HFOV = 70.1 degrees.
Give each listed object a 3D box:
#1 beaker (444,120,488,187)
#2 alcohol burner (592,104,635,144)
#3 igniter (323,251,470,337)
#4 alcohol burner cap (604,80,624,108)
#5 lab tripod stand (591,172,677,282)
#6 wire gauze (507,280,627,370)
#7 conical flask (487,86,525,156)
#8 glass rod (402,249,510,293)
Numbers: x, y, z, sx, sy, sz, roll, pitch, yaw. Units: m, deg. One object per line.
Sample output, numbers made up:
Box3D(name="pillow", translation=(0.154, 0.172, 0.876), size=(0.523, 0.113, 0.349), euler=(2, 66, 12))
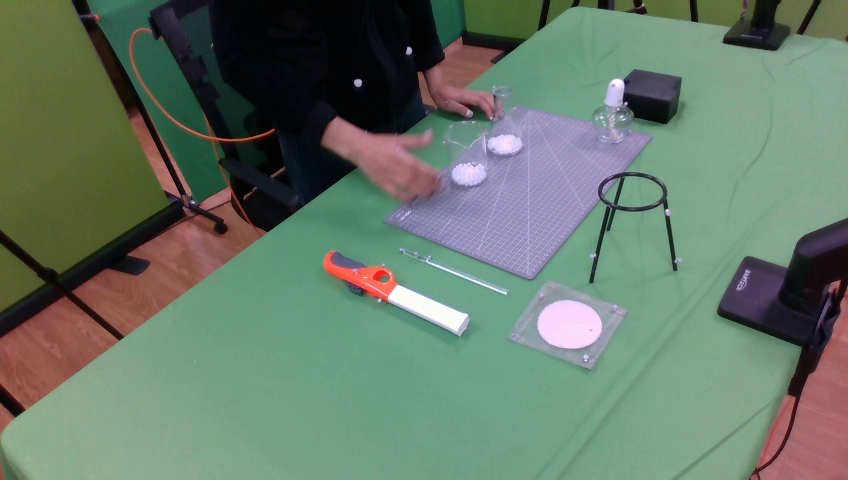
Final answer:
Box3D(name="beaker", translation=(0.078, -0.150, 1.083), size=(0.074, 0.101, 0.083), euler=(-9, 41, 1))
Box3D(name="alcohol burner", translation=(0.353, -0.242, 1.126), size=(0.078, 0.119, 0.077), euler=(-5, 38, 5))
Box3D(name="igniter", translation=(-0.052, 0.075, 0.901), size=(0.274, 0.025, 0.057), euler=(22, 60, 32))
Box3D(name="alcohol burner cap", translation=(0.350, -0.269, 1.102), size=(0.034, 0.048, 0.033), euler=(-1, 47, 2))
Box3D(name="lab tripod stand", translation=(0.292, -0.022, 0.867), size=(0.148, 0.132, 0.147), euler=(-7, 39, 6))
Box3D(name="wire gauze", translation=(0.196, 0.114, 0.823), size=(0.120, 0.011, 0.125), euler=(20, 50, 31))
Box3D(name="conical flask", translation=(0.152, -0.226, 1.140), size=(0.075, 0.122, 0.075), euler=(-5, 40, 5))
Box3D(name="glass rod", translation=(0.045, 0.046, 0.932), size=(0.198, 0.008, 0.008), euler=(20, 49, 31))
